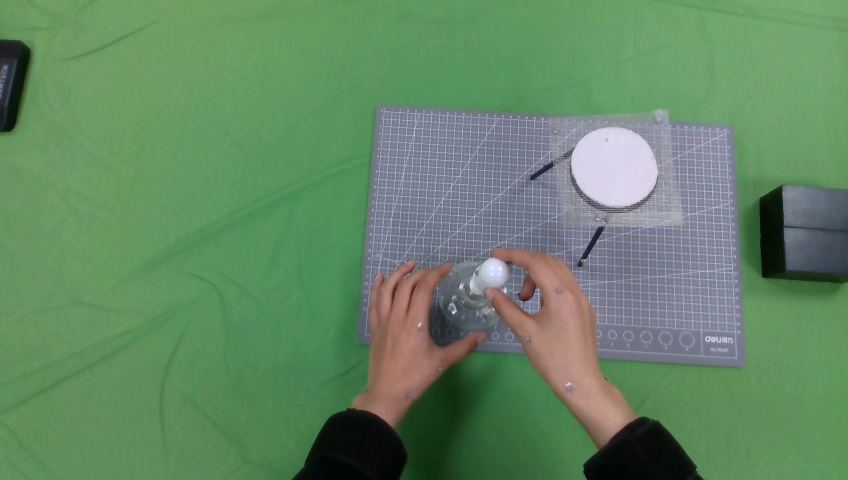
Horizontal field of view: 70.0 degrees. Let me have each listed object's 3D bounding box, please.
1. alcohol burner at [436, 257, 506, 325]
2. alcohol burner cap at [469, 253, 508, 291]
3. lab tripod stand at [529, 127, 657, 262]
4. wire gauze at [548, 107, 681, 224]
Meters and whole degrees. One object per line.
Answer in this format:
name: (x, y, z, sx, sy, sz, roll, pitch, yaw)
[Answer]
alcohol burner: (0.053, 0.052, 0.657, 0.078, 0.119, 0.077, 1, 76, -3)
alcohol burner cap: (0.063, 0.028, 0.574, 0.034, 0.048, 0.033, 2, 73, -6)
lab tripod stand: (0.193, -0.062, 0.674, 0.148, 0.132, 0.147, 0, 75, -1)
wire gauze: (0.191, -0.075, 0.609, 0.125, 0.011, 0.121, -2, 78, -3)
